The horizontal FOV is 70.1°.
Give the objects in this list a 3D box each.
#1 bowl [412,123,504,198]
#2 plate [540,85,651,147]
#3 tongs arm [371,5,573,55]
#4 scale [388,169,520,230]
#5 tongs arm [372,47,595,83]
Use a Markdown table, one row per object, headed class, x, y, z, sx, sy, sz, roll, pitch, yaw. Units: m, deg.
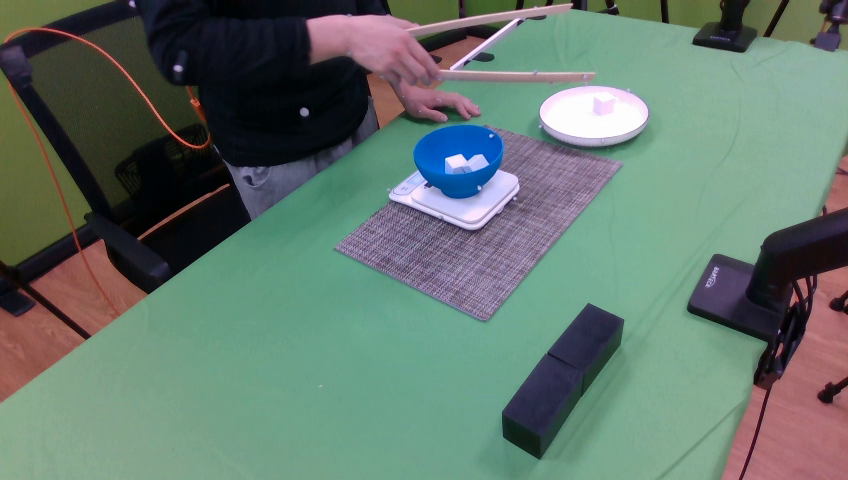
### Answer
| class | x | y | z | sx | sy | sz | roll | pitch | yaw |
| --- | --- | --- | --- | --- | --- | --- | --- | --- | --- |
| bowl | 0.060 | -0.123 | 1.007 | 0.151 | 0.077 | 0.150 | -5 | 41 | 5 |
| plate | 0.333 | -0.238 | 1.186 | 0.207 | 0.039 | 0.206 | -4 | 41 | 4 |
| tongs arm | 0.089 | -0.360 | 1.017 | 0.389 | 0.027 | 0.028 | -17 | 84 | -20 |
| scale | 0.050 | -0.090 | 1.051 | 0.199 | 0.032 | 0.149 | 24 | 49 | 31 |
| tongs arm | 0.107 | -0.288 | 1.000 | 0.387 | 0.026 | 0.050 | -5 | 77 | -18 |
